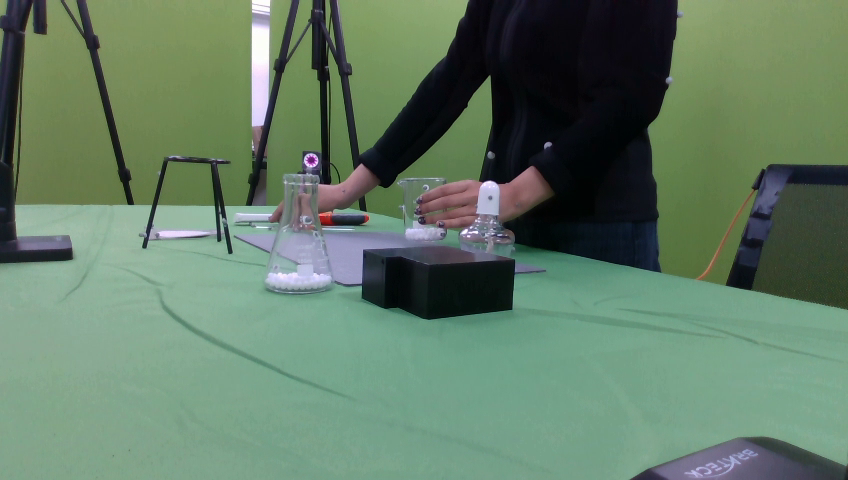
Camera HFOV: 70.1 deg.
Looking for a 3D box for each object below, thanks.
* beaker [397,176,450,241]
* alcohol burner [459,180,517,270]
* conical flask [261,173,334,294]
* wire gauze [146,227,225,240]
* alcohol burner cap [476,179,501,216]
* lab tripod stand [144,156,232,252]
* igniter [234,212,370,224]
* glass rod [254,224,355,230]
[{"bbox_3d":[0.000,-0.051,0.960,0.084,0.100,0.074,-1,6,5],"label":"beaker"},{"bbox_3d":[0.086,-0.021,0.805,0.078,0.119,0.078,3,9,0],"label":"alcohol burner"},{"bbox_3d":[-0.131,-0.009,0.633,0.075,0.122,0.075,2,8,0],"label":"conical flask"},{"bbox_3d":[-0.400,-0.012,1.019,0.122,0.011,0.124,-1,6,-26],"label":"wire gauze"},{"bbox_3d":[0.086,-0.057,0.801,0.034,0.048,0.034,3,2,0],"label":"alcohol burner cap"},{"bbox_3d":[-0.325,-0.054,0.881,0.148,0.131,0.148,4,7,0],"label":"lab tripod stand"},{"bbox_3d":[-0.247,-0.046,1.253,0.278,0.025,0.057,-1,-3,-27],"label":"igniter"},{"bbox_3d":[-0.225,-0.024,1.164,0.201,0.008,0.008,1,6,-30],"label":"glass rod"}]
